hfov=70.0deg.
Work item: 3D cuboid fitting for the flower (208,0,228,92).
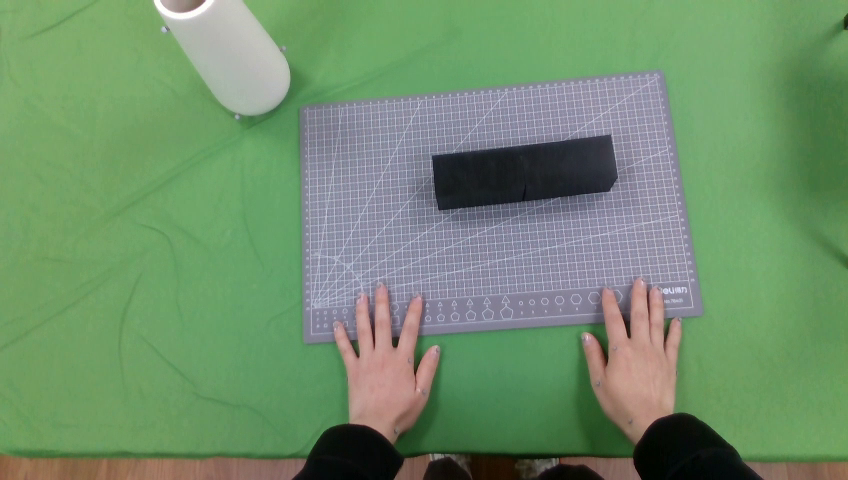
[{"bbox_3d":[-0.213,-0.246,0.607,0.038,0.362,0.044,13,70,-10],"label":"flower"}]

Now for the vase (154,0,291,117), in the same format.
[{"bbox_3d":[-0.222,-0.221,0.687,0.098,0.201,0.097,-1,74,5],"label":"vase"}]
